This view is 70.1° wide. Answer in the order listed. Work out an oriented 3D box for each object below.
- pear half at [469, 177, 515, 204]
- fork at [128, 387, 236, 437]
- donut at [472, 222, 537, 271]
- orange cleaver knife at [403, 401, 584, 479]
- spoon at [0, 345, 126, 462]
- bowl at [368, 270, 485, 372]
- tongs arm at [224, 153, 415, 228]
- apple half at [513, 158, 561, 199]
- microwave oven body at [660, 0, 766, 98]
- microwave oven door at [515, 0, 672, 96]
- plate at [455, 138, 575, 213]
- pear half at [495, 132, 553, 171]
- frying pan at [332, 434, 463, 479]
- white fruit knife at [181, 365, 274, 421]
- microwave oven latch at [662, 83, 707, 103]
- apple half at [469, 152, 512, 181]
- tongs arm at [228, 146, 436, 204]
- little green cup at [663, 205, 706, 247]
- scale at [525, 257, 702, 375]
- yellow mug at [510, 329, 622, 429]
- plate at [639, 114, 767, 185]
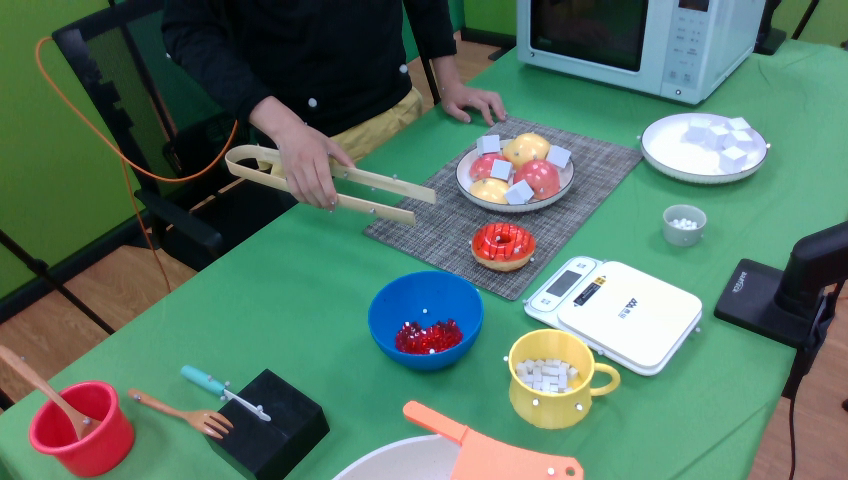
[{"bbox_3d":[0.115,-0.090,1.036,0.087,0.031,0.071,30,39,32],"label":"pear half"},{"bbox_3d":[-0.305,0.207,0.744,0.206,0.019,0.028,3,41,36],"label":"fork"},{"bbox_3d":[0.123,0.009,0.923,0.099,0.048,0.098,-3,38,3],"label":"donut"},{"bbox_3d":[0.062,0.222,0.609,0.210,0.012,0.077,15,49,25],"label":"orange cleaver knife"},{"bbox_3d":[-0.434,0.192,0.720,0.194,0.021,0.042,47,53,-7],"label":"spoon"},{"bbox_3d":[0.007,0.118,0.791,0.151,0.077,0.150,-5,39,4],"label":"bowl"},{"bbox_3d":[-0.177,-0.079,0.947,0.385,0.028,0.028,18,51,26],"label":"tongs arm"},{"bbox_3d":[0.193,-0.111,1.031,0.080,0.053,0.075,11,41,26],"label":"apple half"},{"bbox_3d":[0.472,-0.513,1.317,0.438,0.261,0.327,26,51,34],"label":"microwave oven body"},{"bbox_3d":[0.343,-0.454,1.259,0.353,0.245,0.039,26,51,33],"label":"microwave oven door"},{"bbox_3d":[0.159,-0.111,1.063,0.209,0.038,0.208,-4,40,4],"label":"plate"},{"bbox_3d":[0.174,-0.167,1.094,0.109,0.056,0.076,15,53,30],"label":"pear half"},{"bbox_3d":[-0.089,0.306,0.564,0.487,0.103,0.306,10,41,7],"label":"frying pan"},{"bbox_3d":[-0.245,0.187,0.747,0.205,0.027,0.016,9,41,41],"label":"white fruit knife"},{"bbox_3d":[0.517,-0.296,1.204,0.078,0.029,0.030,27,52,35],"label":"microwave oven latch"},{"bbox_3d":[0.120,-0.138,1.088,0.081,0.033,0.081,-1,44,2],"label":"apple half"},{"bbox_3d":[-0.158,-0.103,0.971,0.382,0.026,0.051,18,47,26],"label":"tongs arm"},{"bbox_3d":[0.396,-0.020,0.926,0.061,0.039,0.061,-4,40,4],"label":"little green cup"},{"bbox_3d":[0.254,0.091,0.821,0.199,0.032,0.149,27,51,35],"label":"scale"},{"bbox_3d":[0.168,0.164,0.721,0.130,0.064,0.099,0,40,8],"label":"yellow mug"},{"bbox_3d":[0.489,-0.157,1.074,0.207,0.039,0.206,-4,40,4],"label":"plate"}]
